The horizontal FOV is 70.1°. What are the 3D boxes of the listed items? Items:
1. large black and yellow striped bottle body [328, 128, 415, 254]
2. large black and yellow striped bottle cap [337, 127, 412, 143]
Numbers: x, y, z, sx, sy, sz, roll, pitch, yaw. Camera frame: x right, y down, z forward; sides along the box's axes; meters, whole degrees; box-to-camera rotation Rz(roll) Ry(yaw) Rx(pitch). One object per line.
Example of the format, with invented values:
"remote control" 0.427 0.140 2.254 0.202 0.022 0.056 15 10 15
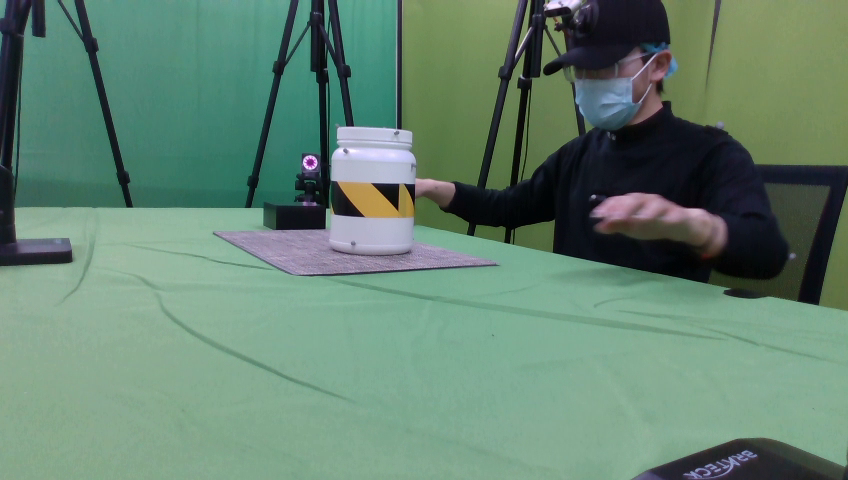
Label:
"large black and yellow striped bottle body" -0.080 -0.077 0.929 0.131 0.184 0.130 2 7 0
"large black and yellow striped bottle cap" -0.075 -0.160 0.920 0.115 0.019 0.115 3 8 0
